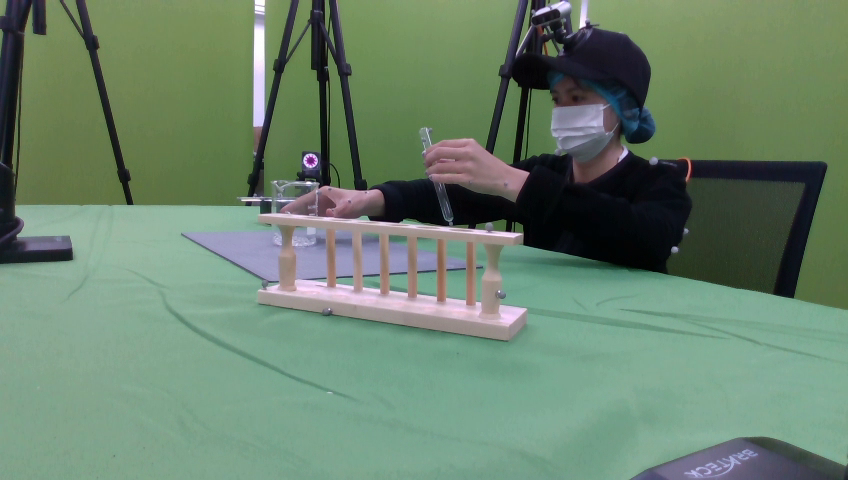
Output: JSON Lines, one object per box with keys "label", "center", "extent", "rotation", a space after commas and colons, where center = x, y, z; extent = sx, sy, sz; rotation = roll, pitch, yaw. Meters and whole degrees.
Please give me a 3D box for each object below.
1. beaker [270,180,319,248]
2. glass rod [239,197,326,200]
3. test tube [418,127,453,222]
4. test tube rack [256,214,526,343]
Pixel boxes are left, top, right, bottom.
{"label": "beaker", "center": [-0.203, -0.040, 0.935], "extent": [0.074, 0.100, 0.084], "rotation": [5, 8, 18]}
{"label": "glass rod", "center": [-0.288, -0.087, 1.250], "extent": [0.201, 0.008, 0.008], "rotation": [-4, 10, -42]}
{"label": "test tube", "center": [0.018, -0.100, 0.920], "extent": [0.017, 0.150, 0.017], "rotation": [-16, -3, -1]}
{"label": "test tube rack", "center": [-0.032, 0.027, 0.547], "extent": [0.241, 0.085, 0.067], "rotation": [5, 7, 22]}
